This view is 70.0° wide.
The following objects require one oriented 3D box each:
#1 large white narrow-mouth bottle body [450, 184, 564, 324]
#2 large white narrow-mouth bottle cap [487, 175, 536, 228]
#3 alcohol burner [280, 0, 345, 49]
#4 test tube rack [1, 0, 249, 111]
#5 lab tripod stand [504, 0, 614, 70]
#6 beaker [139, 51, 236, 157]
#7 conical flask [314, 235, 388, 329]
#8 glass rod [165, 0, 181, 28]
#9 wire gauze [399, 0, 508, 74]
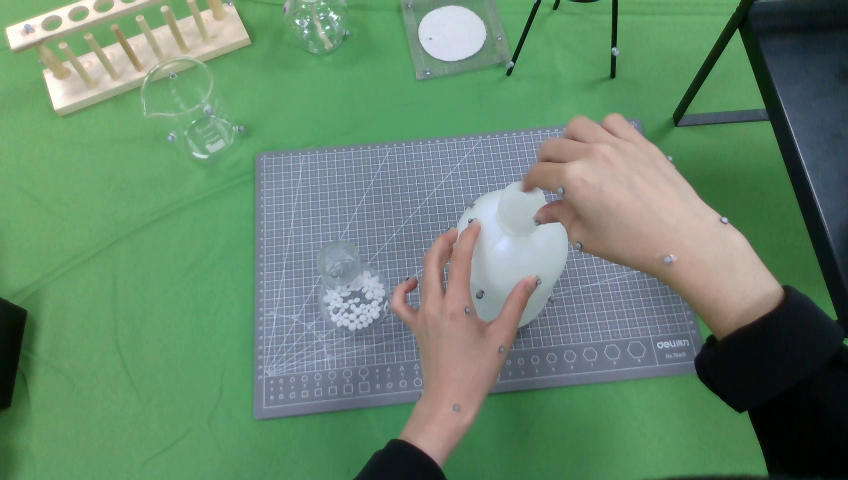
[{"bbox_3d":[0.074,0.006,0.550,0.102,0.196,0.101,-1,68,3],"label":"large white narrow-mouth bottle body"},{"bbox_3d":[0.068,-0.030,0.466,0.038,0.024,0.037,-1,68,3],"label":"large white narrow-mouth bottle cap"},{"bbox_3d":[-0.134,-0.285,0.714,0.078,0.120,0.077,0,65,0],"label":"alcohol burner"},{"bbox_3d":[-0.343,-0.245,0.713,0.242,0.086,0.066,-25,70,-10],"label":"test tube rack"},{"bbox_3d":[0.166,-0.267,0.694,0.148,0.132,0.147,1,67,-1],"label":"lab tripod stand"},{"bbox_3d":[-0.256,-0.142,0.664,0.073,0.101,0.084,39,73,16],"label":"beaker"},{"bbox_3d":[-0.075,0.035,0.576,0.075,0.123,0.075,0,67,1],"label":"conical flask"},{"bbox_3d":[-0.299,-0.308,0.667,0.008,0.201,0.008,2,65,-3],"label":"glass rod"},{"bbox_3d":[0.035,-0.270,0.763,0.121,0.011,0.124,-10,68,-5],"label":"wire gauze"}]
